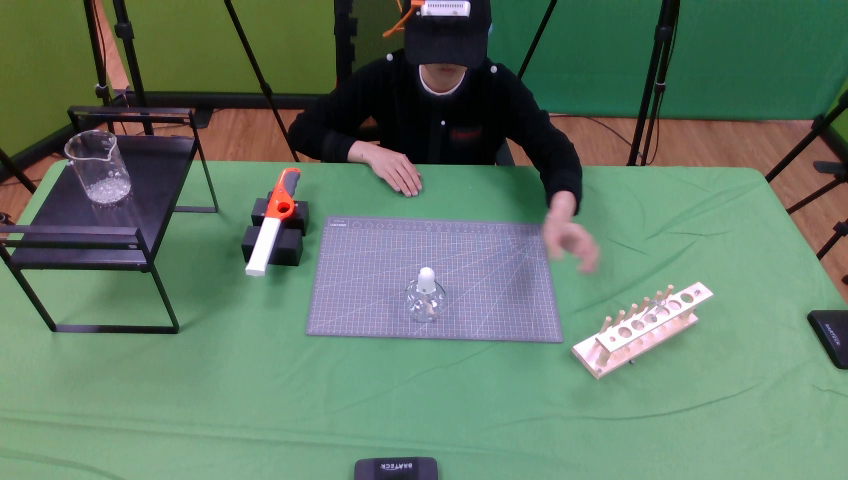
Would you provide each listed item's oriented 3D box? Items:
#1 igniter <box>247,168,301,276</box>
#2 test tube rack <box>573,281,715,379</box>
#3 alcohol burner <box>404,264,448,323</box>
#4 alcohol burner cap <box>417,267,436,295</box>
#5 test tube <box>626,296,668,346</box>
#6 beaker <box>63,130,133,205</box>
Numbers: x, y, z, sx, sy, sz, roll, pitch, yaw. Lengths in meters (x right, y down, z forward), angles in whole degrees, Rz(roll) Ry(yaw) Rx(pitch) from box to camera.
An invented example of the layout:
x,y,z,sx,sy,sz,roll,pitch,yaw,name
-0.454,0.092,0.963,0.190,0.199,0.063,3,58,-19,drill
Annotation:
x,y,z,sx,sy,sz,roll,pitch,yaw,name
-0.282,-0.043,1.149,0.057,0.025,0.275,8,48,-1,igniter
0.378,0.140,1.038,0.242,0.085,0.066,-22,51,-23,test tube rack
0.003,0.087,1.042,0.078,0.120,0.077,1,45,0,alcohol burner
0.004,0.066,1.019,0.034,0.048,0.033,0,47,0,alcohol burner cap
0.352,0.133,0.970,0.017,0.151,0.017,3,54,-4,test tube
-0.511,-0.112,0.964,0.083,0.101,0.074,31,52,23,beaker
